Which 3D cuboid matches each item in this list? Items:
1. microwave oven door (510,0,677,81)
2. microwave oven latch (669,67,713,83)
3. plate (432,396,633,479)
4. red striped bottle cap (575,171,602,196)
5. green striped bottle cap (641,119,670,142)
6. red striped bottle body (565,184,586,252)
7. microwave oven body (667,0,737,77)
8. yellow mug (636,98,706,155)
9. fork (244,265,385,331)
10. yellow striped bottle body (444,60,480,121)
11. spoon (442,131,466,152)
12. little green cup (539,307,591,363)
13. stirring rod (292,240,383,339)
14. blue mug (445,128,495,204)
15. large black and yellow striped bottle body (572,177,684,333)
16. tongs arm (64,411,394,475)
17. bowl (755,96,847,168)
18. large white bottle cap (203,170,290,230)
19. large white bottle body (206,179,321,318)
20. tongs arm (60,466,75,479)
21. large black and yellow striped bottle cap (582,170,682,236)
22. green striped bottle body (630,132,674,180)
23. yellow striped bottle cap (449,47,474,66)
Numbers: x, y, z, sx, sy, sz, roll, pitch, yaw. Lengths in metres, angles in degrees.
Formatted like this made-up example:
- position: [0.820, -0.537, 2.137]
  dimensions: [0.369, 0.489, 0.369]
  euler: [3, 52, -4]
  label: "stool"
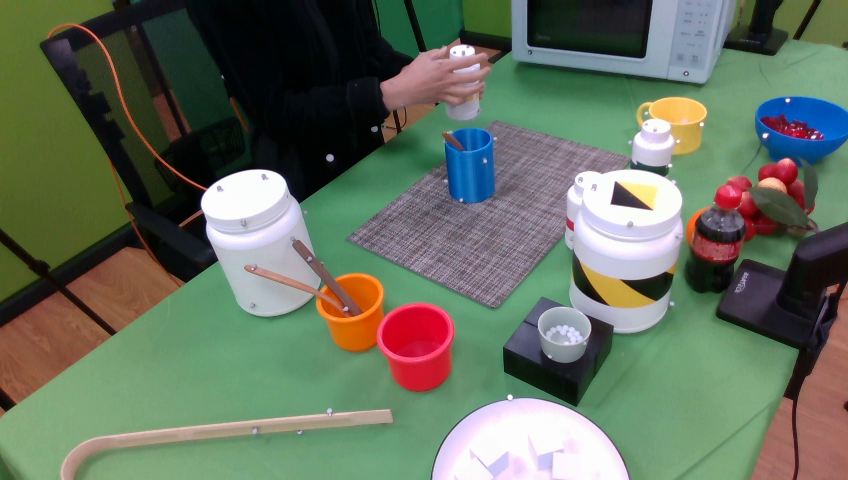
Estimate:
- position: [0.354, -0.478, 1.290]
  dimensions: [0.353, 0.245, 0.039]
  euler: [15, 45, 25]
  label: "microwave oven door"
- position: [0.556, -0.349, 1.261]
  dimensions: [0.078, 0.029, 0.030]
  euler: [16, 46, 27]
  label: "microwave oven latch"
- position: [0.112, 0.261, 0.634]
  dimensions: [0.209, 0.038, 0.208]
  euler: [-5, 40, 4]
  label: "plate"
- position: [0.242, -0.081, 0.876]
  dimensions: [0.044, 0.018, 0.044]
  euler: [-5, 44, 5]
  label: "red striped bottle cap"
- position: [0.371, -0.175, 0.968]
  dimensions: [0.044, 0.020, 0.044]
  euler: [-6, 42, 6]
  label: "green striped bottle cap"
- position: [0.247, -0.041, 0.910]
  dimensions: [0.063, 0.120, 0.062]
  euler: [-3, 39, 3]
  label: "red striped bottle body"
- position: [0.462, -0.552, 1.369]
  dimensions: [0.439, 0.261, 0.326]
  euler: [15, 45, 26]
  label: "microwave oven body"
- position: [0.453, -0.217, 1.128]
  dimensions: [0.100, 0.064, 0.129]
  euler: [-34, 46, -27]
  label: "yellow mug"
- position: [-0.142, 0.078, 0.806]
  dimensions: [0.209, 0.018, 0.028]
  euler: [30, 33, -24]
  label: "fork"
- position: [0.068, -0.280, 1.083]
  dimensions: [0.063, 0.121, 0.062]
  euler: [-2, 42, 2]
  label: "yellow striped bottle body"
- position: [0.062, -0.144, 1.000]
  dimensions: [0.041, 0.195, 0.021]
  euler: [11, 79, 23]
  label: "spoon"
- position: [0.167, 0.114, 0.721]
  dimensions: [0.061, 0.039, 0.061]
  euler: [-4, 43, 4]
  label: "little green cup"
- position: [-0.118, 0.068, 0.826]
  dimensions: [0.176, 0.006, 0.014]
  euler: [49, 60, -4]
  label: "stirring rod"
- position: [0.081, -0.139, 1.058]
  dimensions: [0.082, 0.106, 0.116]
  euler: [-4, 40, 4]
  label: "blue mug"
- position: [0.262, 0.017, 0.788]
  dimensions: [0.131, 0.185, 0.130]
  euler: [-5, 40, 4]
  label: "large black and yellow striped bottle body"
- position: [-0.228, 0.240, 0.715]
  dimensions: [0.385, 0.026, 0.050]
  euler: [-4, 43, 5]
  label: "tongs arm"
- position: [0.645, -0.177, 1.041]
  dimensions: [0.151, 0.077, 0.150]
  euler: [-5, 40, 4]
  label: "bowl"
- position: [-0.241, -0.057, 0.822]
  dimensions: [0.115, 0.018, 0.114]
  euler: [-4, 41, 4]
  label: "large white bottle cap"
- position: [-0.233, 0.007, 0.876]
  dimensions: [0.130, 0.185, 0.130]
  euler: [-5, 40, 4]
  label: "large white bottle body"
- position: [-0.239, 0.301, 0.649]
  dimensions: [0.386, 0.028, 0.028]
  euler: [6, 49, 17]
  label: "tongs arm"
- position: [0.252, -0.048, 0.735]
  dimensions: [0.115, 0.019, 0.114]
  euler: [-3, 40, 3]
  label: "large black and yellow striped bottle cap"
- position: [0.376, -0.135, 1.001]
  dimensions: [0.063, 0.120, 0.063]
  euler: [-5, 41, 5]
  label: "green striped bottle body"
- position: [0.065, -0.318, 1.048]
  dimensions: [0.044, 0.019, 0.044]
  euler: [-1, 42, 1]
  label: "yellow striped bottle cap"
